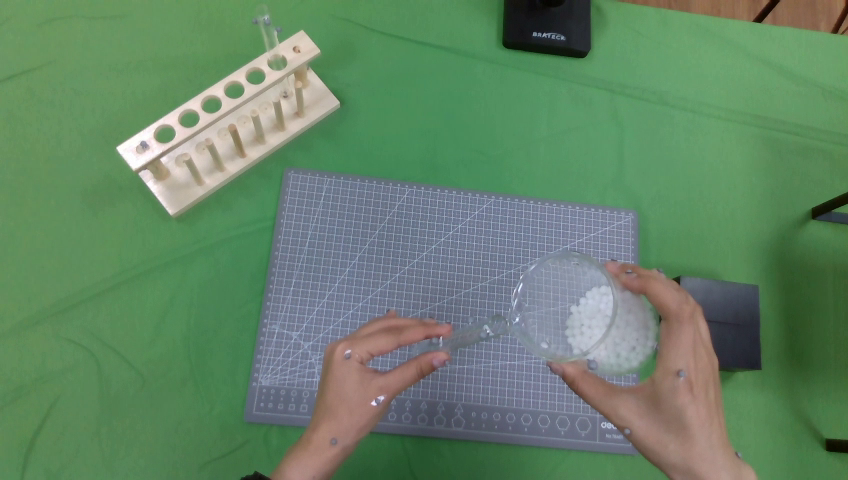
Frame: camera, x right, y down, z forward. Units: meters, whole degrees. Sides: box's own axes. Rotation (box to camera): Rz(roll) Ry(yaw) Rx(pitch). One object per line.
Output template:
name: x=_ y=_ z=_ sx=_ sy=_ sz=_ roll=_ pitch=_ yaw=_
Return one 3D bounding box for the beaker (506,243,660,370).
beaker: x=0.117 y=0.054 z=0.430 sx=0.084 sy=0.101 sz=0.073 roll=-27 pitch=59 yaw=30

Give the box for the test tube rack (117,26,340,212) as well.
test tube rack: x=-0.214 y=-0.139 z=0.700 sx=0.242 sy=0.085 sz=0.066 roll=-38 pitch=83 yaw=-15

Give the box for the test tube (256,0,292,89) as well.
test tube: x=-0.165 y=-0.212 z=0.673 sx=0.017 sy=0.151 sz=0.017 roll=1 pitch=73 yaw=-4

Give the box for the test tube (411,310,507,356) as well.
test tube: x=0.023 y=0.078 z=0.489 sx=0.017 sy=0.150 sz=0.017 roll=8 pitch=70 yaw=-22
